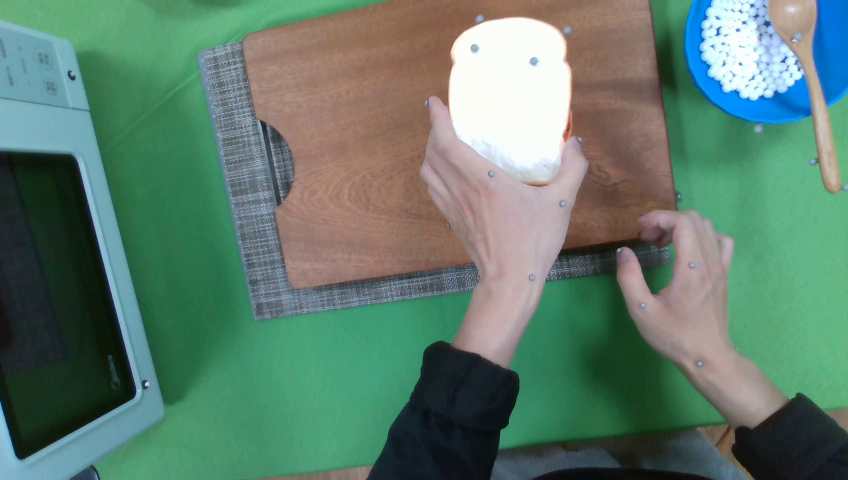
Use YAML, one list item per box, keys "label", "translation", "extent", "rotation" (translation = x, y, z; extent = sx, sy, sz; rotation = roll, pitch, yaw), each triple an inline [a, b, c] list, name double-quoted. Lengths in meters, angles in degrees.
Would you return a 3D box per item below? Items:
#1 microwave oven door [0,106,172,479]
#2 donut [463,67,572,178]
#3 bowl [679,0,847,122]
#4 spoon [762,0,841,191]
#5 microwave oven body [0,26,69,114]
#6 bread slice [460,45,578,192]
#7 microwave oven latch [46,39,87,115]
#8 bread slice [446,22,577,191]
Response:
- label: "microwave oven door"
  translation: [-0.366, 0.050, 0.575]
  extent: [0.039, 0.244, 0.356]
  rotation: [-12, 94, 11]
- label: "donut"
  translation: [0.085, -0.106, 0.552]
  extent: [0.099, 0.048, 0.099]
  rotation: [1, 98, 9]
- label: "bowl"
  translation: [0.298, -0.177, 0.537]
  extent: [0.151, 0.077, 0.151]
  rotation: [1, 97, 10]
- label: "spoon"
  translation: [0.320, -0.134, 0.506]
  extent: [0.041, 0.022, 0.192]
  rotation: [-5, 75, 3]
- label: "microwave oven body"
  translation: [-0.515, 0.038, 0.604]
  extent: [0.325, 0.260, 0.442]
  rotation: [-12, 95, 10]
- label: "bread slice"
  translation: [0.085, -0.117, 0.582]
  extent: [0.105, 0.019, 0.132]
  rotation: [-10, 97, 9]
- label: "microwave oven latch"
  translation: [-0.394, -0.174, 0.657]
  extent: [0.030, 0.029, 0.079]
  rotation: [-12, 95, 10]
- label: "bread slice"
  translation: [0.067, -0.109, 0.502]
  extent: [0.106, 0.018, 0.134]
  rotation: [-4, 97, 17]
